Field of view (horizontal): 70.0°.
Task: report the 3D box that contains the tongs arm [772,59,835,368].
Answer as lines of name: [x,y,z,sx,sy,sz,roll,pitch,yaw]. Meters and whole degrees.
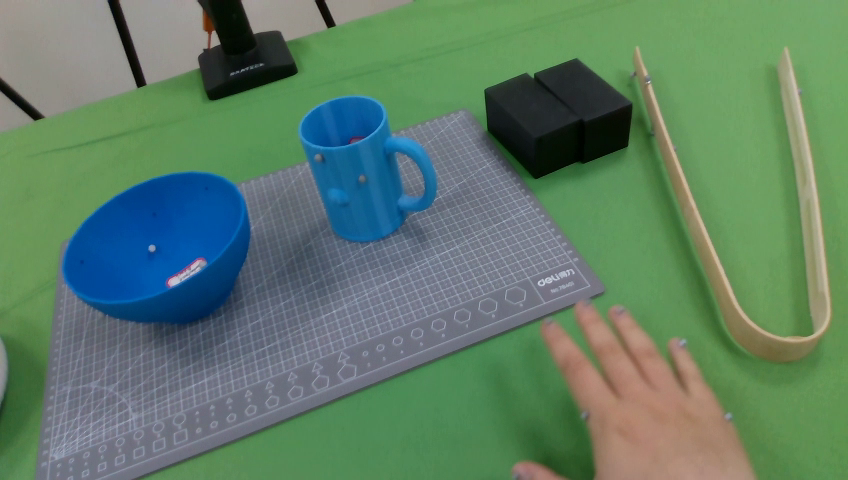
tongs arm: [0.323,-0.052,0.532,0.028,0.028,0.385,14,49,11]

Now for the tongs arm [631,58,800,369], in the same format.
tongs arm: [0.243,-0.056,0.544,0.051,0.027,0.381,2,46,5]

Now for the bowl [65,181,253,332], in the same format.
bowl: [-0.212,0.027,0.522,0.151,0.077,0.150,-6,45,6]

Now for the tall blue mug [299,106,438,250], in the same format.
tall blue mug: [-0.045,-0.057,0.548,0.107,0.109,0.077,-12,44,0]

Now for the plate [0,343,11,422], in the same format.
plate: [-0.426,0.154,0.472,0.209,0.038,0.207,-5,45,6]
